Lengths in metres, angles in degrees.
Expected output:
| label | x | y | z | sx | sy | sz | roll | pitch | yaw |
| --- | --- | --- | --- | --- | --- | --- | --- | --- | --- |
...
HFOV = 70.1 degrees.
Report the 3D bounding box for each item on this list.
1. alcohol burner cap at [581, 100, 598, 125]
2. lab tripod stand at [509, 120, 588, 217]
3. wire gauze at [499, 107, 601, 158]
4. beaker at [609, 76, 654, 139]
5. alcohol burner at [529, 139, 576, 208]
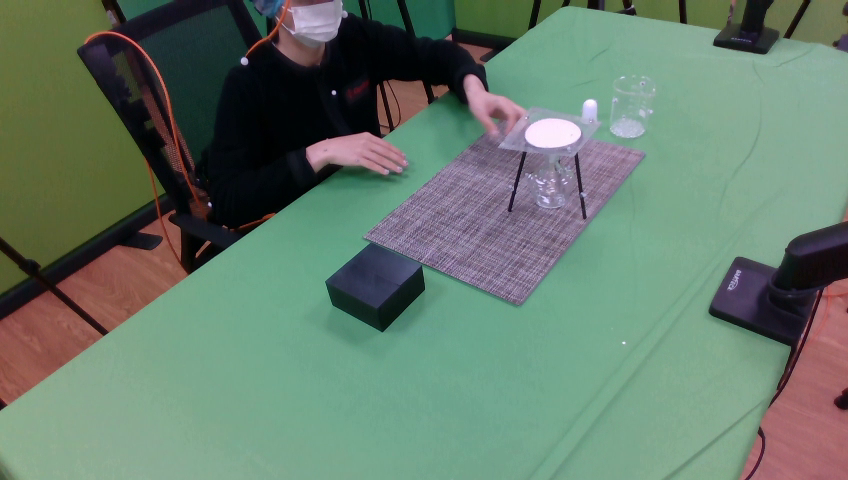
| label | x | y | z | sx | sy | sz | roll | pitch | yaw |
| --- | --- | --- | --- | --- | --- | --- | --- | --- | --- |
| alcohol burner cap | 0.331 | -0.258 | 1.210 | 0.034 | 0.048 | 0.033 | -5 | 41 | 5 |
| lab tripod stand | 0.207 | -0.114 | 0.983 | 0.148 | 0.132 | 0.147 | -5 | 42 | 5 |
| wire gauze | 0.198 | -0.168 | 0.943 | 0.120 | 0.011 | 0.125 | 17 | 47 | 27 |
| beaker | 0.393 | -0.248 | 1.144 | 0.074 | 0.101 | 0.083 | -32 | 47 | -24 |
| alcohol burner | 0.211 | -0.112 | 0.995 | 0.078 | 0.119 | 0.077 | -6 | 41 | 6 |
